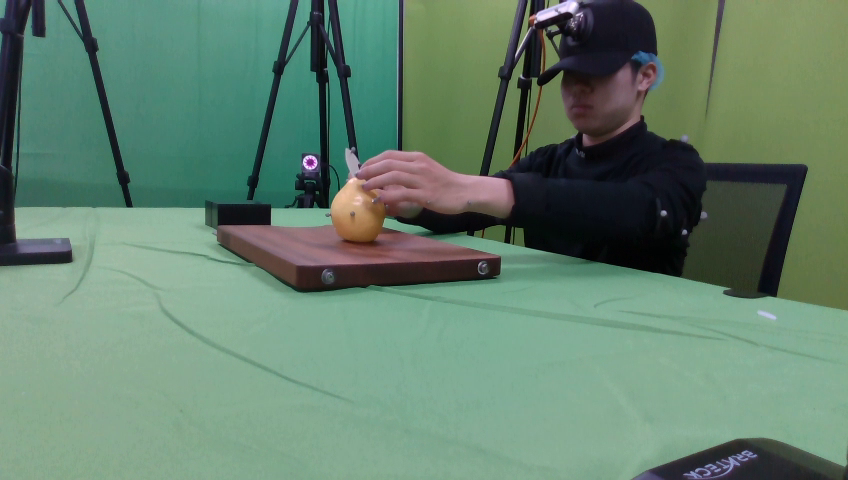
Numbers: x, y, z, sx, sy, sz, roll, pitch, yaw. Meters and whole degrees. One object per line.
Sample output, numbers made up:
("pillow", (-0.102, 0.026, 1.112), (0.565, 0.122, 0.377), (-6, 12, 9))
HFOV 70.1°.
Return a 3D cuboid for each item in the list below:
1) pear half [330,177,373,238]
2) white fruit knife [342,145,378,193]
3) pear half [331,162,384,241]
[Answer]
("pear half", (-0.109, -0.047, 0.866), (0.031, 0.088, 0.071), (8, 13, 43))
("white fruit knife", (-0.097, -0.095, 0.951), (0.016, 0.027, 0.208), (34, -12, 18))
("pear half", (-0.086, -0.053, 0.839), (0.055, 0.110, 0.077), (10, 15, 41))
